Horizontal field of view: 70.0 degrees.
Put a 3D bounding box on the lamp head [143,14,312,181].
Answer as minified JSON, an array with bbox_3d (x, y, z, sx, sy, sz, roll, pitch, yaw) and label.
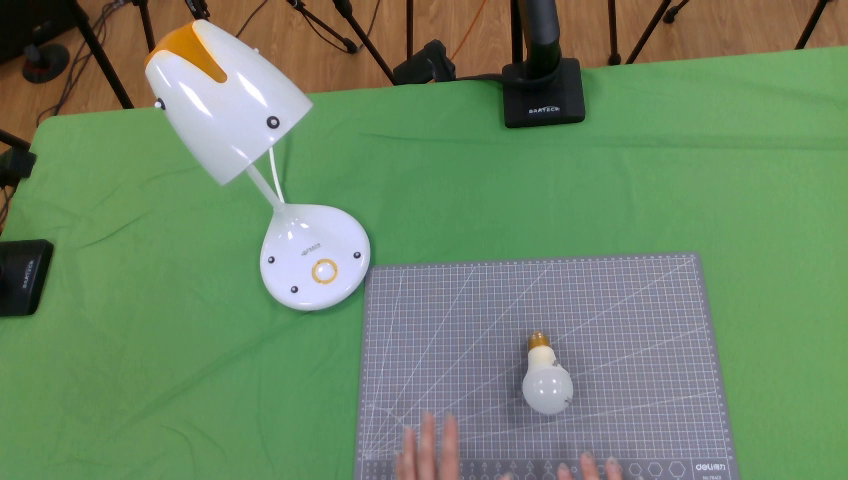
[{"bbox_3d":[-0.178,-0.129,0.526,0.112,0.112,0.123,-47,106,-12],"label":"lamp head"}]

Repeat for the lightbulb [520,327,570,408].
[{"bbox_3d":[0.145,0.154,0.745,0.059,0.060,0.106,-8,50,5],"label":"lightbulb"}]

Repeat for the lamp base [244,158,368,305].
[{"bbox_3d":[-0.178,-0.023,0.800,0.160,0.182,0.177,-40,64,-10],"label":"lamp base"}]
